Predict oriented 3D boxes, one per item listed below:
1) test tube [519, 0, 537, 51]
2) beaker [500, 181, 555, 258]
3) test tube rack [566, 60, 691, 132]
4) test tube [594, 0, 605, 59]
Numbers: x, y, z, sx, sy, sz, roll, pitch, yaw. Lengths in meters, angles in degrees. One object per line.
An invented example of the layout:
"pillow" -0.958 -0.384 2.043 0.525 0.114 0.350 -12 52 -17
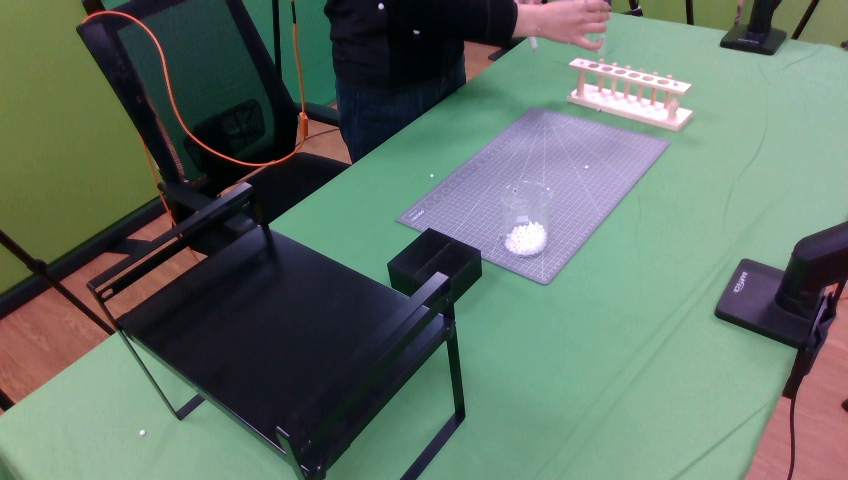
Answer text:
"test tube" 0.202 -0.435 1.186 0.017 0.151 0.017 -12 50 15
"beaker" 0.158 -0.030 0.923 0.084 0.100 0.073 -13 41 -8
"test tube rack" 0.411 -0.299 1.217 0.240 0.085 0.067 26 51 33
"test tube" 0.339 -0.415 1.169 0.017 0.151 0.017 -9 51 12
